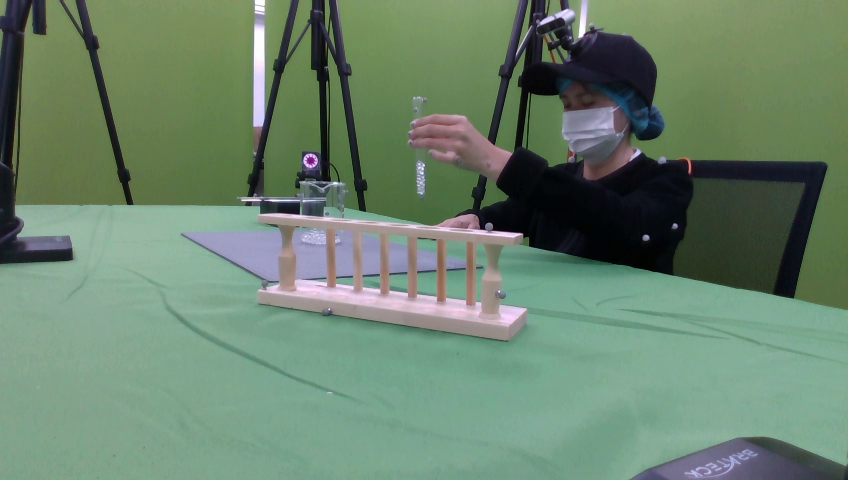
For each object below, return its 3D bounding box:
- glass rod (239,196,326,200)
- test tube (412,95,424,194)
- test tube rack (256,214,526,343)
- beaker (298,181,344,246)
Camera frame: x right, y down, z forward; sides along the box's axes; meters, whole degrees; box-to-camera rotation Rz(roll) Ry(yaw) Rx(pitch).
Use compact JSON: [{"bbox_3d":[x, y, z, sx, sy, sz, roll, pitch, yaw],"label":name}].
[{"bbox_3d":[-0.288,-0.087,1.250,0.201,0.008,0.008,-4,10,-42],"label":"glass rod"},{"bbox_3d":[-0.009,-0.145,0.928,0.017,0.150,0.017,-1,11,0],"label":"test tube"},{"bbox_3d":[-0.032,0.027,0.547,0.241,0.085,0.067,5,7,22],"label":"test tube rack"},{"bbox_3d":[-0.166,-0.043,0.972,0.074,0.100,0.084,1,8,-10],"label":"beaker"}]
